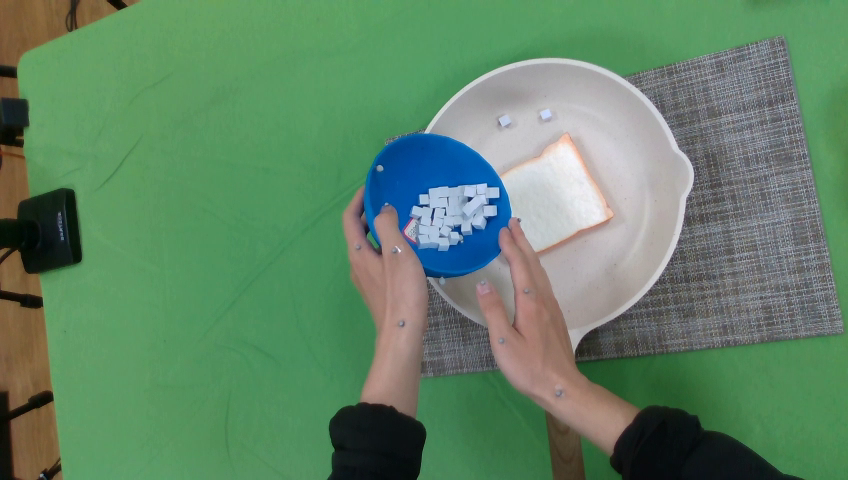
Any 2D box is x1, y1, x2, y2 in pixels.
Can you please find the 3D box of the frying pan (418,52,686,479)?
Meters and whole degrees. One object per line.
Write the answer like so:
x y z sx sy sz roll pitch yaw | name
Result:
0.124 0.051 0.638 0.306 0.103 0.485 -7 78 21 | frying pan

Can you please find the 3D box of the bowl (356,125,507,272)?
-0.002 -0.029 0.602 0.150 0.152 0.077 62 149 11 | bowl

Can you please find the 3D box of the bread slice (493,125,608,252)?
0.124 -0.047 0.681 0.134 0.018 0.106 -32 78 15 | bread slice
